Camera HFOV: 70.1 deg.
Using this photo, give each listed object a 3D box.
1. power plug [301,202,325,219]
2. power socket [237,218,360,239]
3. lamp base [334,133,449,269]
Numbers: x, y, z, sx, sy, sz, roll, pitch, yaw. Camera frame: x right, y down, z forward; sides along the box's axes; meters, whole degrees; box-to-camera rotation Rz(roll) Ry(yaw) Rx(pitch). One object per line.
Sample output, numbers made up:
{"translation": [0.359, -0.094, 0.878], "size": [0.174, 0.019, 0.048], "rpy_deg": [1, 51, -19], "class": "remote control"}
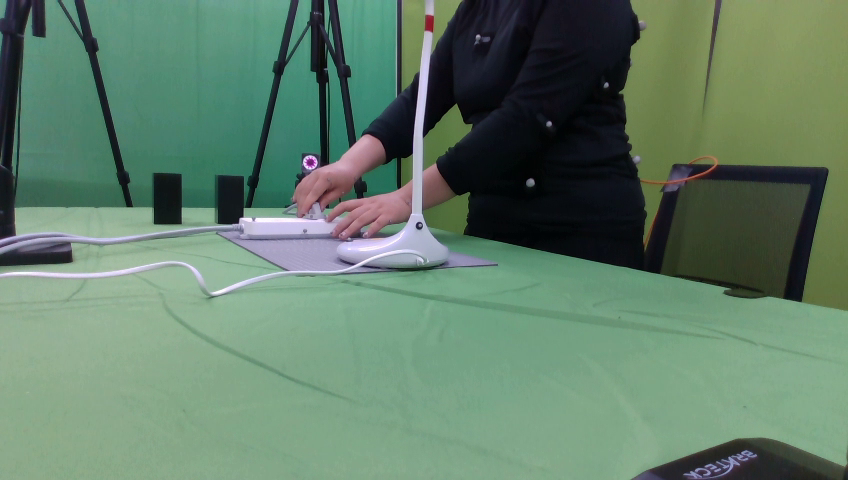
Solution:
{"translation": [-0.206, -0.044, 1.121], "size": [0.035, 0.052, 0.072], "rpy_deg": [-1, 1, -19], "class": "power plug"}
{"translation": [-0.220, -0.023, 1.080], "size": [0.228, 0.032, 0.072], "rpy_deg": [-2, 8, -32], "class": "power socket"}
{"translation": [-0.034, -0.057, 0.830], "size": [0.161, 0.180, 0.178], "rpy_deg": [-3, 12, -36], "class": "lamp base"}
